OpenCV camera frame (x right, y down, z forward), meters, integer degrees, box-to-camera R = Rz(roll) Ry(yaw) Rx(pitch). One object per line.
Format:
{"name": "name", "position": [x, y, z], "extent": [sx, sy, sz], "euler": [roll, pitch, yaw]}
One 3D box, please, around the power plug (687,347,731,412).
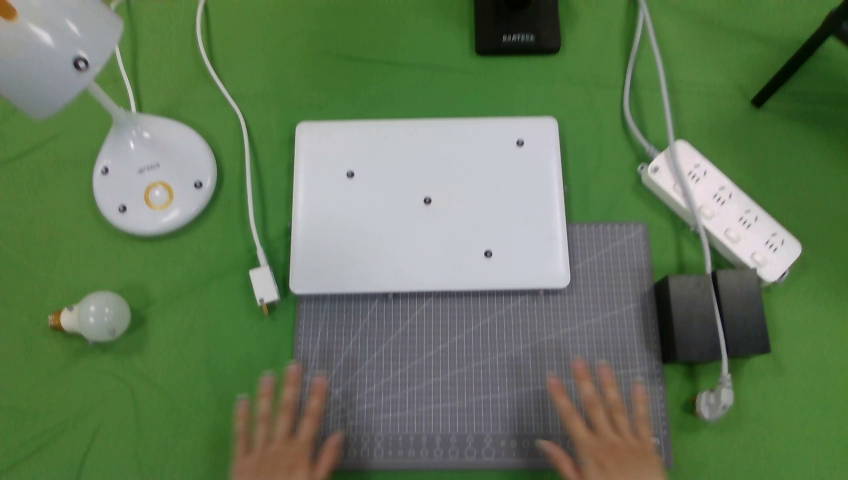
{"name": "power plug", "position": [0.336, 0.167, 0.711], "extent": [0.035, 0.052, 0.072], "euler": [31, 67, -17]}

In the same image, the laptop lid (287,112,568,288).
{"name": "laptop lid", "position": [0.002, -0.056, 0.780], "extent": [0.357, 0.013, 0.240], "euler": [0, 75, 0]}

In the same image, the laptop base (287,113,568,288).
{"name": "laptop base", "position": [0.003, -0.055, 0.792], "extent": [0.354, 0.023, 0.234], "euler": [-1, 76, 0]}

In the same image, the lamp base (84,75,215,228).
{"name": "lamp base", "position": [-0.364, -0.124, 0.727], "extent": [0.160, 0.181, 0.178], "euler": [-31, 73, -9]}

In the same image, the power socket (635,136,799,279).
{"name": "power socket", "position": [0.376, -0.043, 0.779], "extent": [0.072, 0.033, 0.225], "euler": [-41, 77, -11]}

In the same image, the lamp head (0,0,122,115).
{"name": "lamp head", "position": [-0.317, -0.176, 0.459], "extent": [0.112, 0.124, 0.111], "euler": [-21, 47, 25]}

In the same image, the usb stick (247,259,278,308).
{"name": "usb stick", "position": [-0.200, 0.055, 0.755], "extent": [0.027, 0.021, 0.059], "euler": [-14, 84, -6]}

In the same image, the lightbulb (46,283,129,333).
{"name": "lightbulb", "position": [-0.411, 0.084, 0.734], "extent": [0.107, 0.060, 0.059], "euler": [-6, 73, 14]}
